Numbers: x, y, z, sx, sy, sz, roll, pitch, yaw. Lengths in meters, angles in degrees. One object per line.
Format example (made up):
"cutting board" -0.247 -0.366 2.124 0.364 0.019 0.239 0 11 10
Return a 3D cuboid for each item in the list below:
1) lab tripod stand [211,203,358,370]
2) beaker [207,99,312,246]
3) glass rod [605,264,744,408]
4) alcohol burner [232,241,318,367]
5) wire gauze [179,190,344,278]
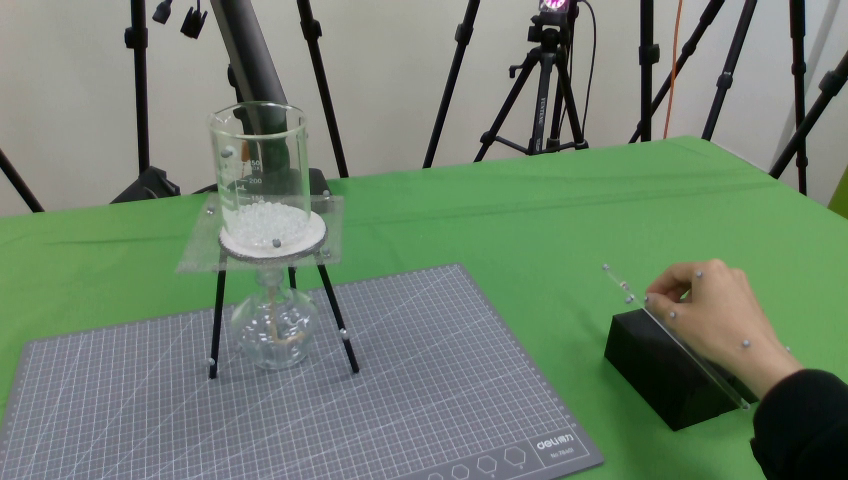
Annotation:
"lab tripod stand" -0.125 0.044 0.545 0.148 0.132 0.147 3 31 -2
"beaker" -0.130 -0.053 0.483 0.083 0.101 0.074 19 35 22
"glass rod" 0.217 0.078 0.545 0.008 0.008 0.197 -8 34 -15
"alcohol burner" -0.136 0.055 0.547 0.078 0.120 0.077 0 31 0
"wire gauze" -0.129 -0.011 0.508 0.121 0.011 0.124 -2 35 -6
